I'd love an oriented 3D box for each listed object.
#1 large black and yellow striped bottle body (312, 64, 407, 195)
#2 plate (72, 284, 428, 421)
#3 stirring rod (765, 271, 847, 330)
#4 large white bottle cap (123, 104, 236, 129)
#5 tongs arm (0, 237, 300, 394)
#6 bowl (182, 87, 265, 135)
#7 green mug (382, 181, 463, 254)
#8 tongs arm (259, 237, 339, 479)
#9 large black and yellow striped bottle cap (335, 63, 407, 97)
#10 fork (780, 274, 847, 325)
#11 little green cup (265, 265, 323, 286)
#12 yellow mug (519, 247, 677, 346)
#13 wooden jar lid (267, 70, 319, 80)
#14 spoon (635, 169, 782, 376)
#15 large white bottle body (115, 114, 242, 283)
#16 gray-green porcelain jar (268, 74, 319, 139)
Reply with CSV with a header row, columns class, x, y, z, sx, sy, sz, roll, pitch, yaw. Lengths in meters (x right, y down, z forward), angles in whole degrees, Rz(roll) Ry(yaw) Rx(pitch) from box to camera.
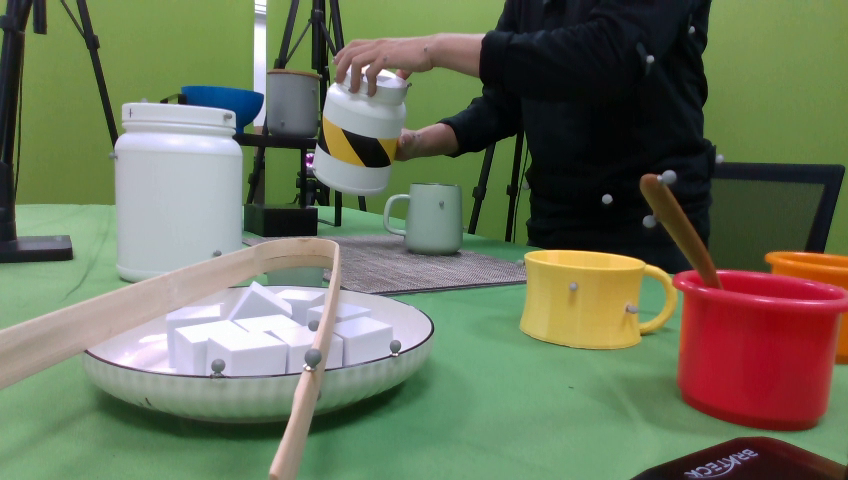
class,x,y,z,sx,sy,sz,roll,pitch,yaw
large black and yellow striped bottle body,-0.104,-0.182,0.993,0.131,0.184,0.130,14,27,-7
plate,-0.102,0.067,0.381,0.208,0.039,0.207,3,7,0
stirring rod,0.352,0.020,0.481,0.176,0.006,0.014,-40,-8,17
large white bottle cap,-0.266,-0.134,0.663,0.115,0.018,0.115,3,7,0
tongs arm,-0.158,0.039,0.346,0.028,0.028,0.388,-3,8,11
bowl,-0.383,-0.244,1.158,0.151,0.077,0.151,2,6,0
green mug,-0.001,-0.036,0.922,0.126,0.105,0.092,0,8,-16
tongs arm,-0.074,0.040,0.345,0.051,0.026,0.384,-2,9,-3
large black and yellow striped bottle cap,-0.083,-0.253,0.955,0.115,0.019,0.115,14,25,-7
fork,0.332,0.018,0.443,0.028,0.018,0.207,-3,-35,-16
little green cup,-0.134,0.034,0.628,0.061,0.038,0.061,3,6,0
yellow mug,0.148,0.045,0.513,0.131,0.064,0.100,3,7,0
wooden jar lid,-0.275,-0.340,1.271,0.108,0.020,0.108,5,6,0
spoon,0.161,0.026,0.346,0.041,0.194,0.021,10,56,53
large white bottle body,-0.270,-0.051,0.673,0.131,0.184,0.130,2,8,0
gray-green porcelain jar,-0.277,-0.279,1.280,0.106,0.126,0.106,2,8,0
